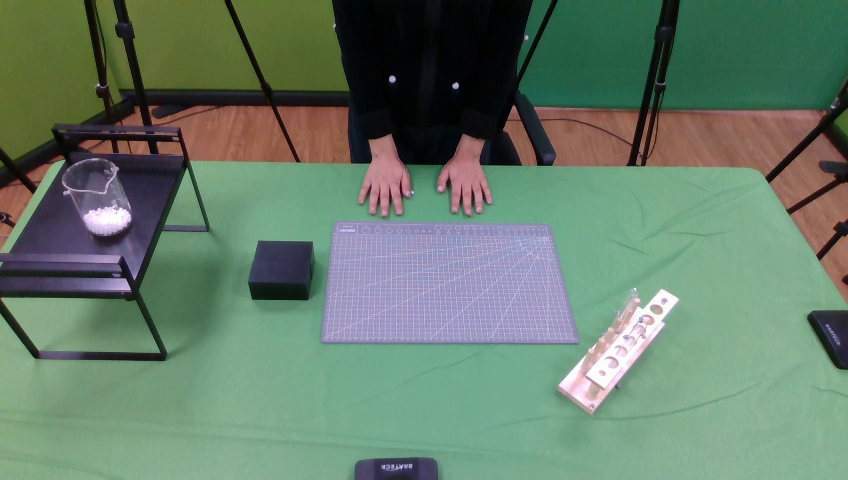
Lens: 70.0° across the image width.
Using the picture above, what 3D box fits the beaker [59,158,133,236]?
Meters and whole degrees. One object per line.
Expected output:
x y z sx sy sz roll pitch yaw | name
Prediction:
-0.488 -0.060 0.915 0.074 0.101 0.083 -35 58 -31 | beaker

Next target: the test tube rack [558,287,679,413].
0.326 0.170 1.009 0.066 0.085 0.242 36 54 27 | test tube rack

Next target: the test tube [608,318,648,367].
0.311 0.169 0.941 0.017 0.151 0.017 5 48 -5 | test tube

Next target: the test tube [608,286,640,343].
0.324 0.123 0.992 0.017 0.151 0.017 2 49 -2 | test tube
